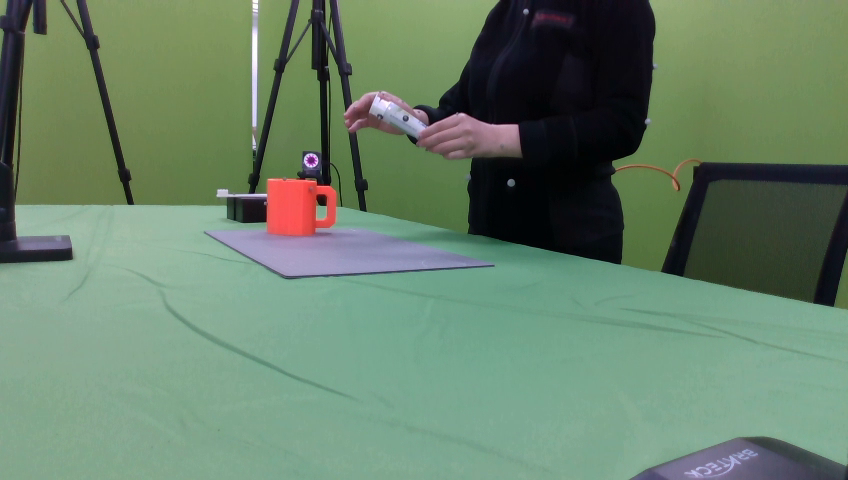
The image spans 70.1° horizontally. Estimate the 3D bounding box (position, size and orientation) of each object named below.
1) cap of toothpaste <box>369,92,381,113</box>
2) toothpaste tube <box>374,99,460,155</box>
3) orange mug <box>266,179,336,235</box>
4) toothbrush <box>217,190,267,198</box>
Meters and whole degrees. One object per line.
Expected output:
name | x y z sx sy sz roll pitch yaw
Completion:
cap of toothpaste | -0.081 -0.228 1.008 0.011 0.037 0.037 22 3 -11
toothpaste tube | -0.011 -0.188 1.013 0.165 0.034 0.055 29 23 -4
orange mug | -0.222 -0.062 1.094 0.127 0.101 0.083 -5 10 -22
toothbrush | -0.343 -0.096 1.282 0.183 0.016 0.014 -1 5 -27
